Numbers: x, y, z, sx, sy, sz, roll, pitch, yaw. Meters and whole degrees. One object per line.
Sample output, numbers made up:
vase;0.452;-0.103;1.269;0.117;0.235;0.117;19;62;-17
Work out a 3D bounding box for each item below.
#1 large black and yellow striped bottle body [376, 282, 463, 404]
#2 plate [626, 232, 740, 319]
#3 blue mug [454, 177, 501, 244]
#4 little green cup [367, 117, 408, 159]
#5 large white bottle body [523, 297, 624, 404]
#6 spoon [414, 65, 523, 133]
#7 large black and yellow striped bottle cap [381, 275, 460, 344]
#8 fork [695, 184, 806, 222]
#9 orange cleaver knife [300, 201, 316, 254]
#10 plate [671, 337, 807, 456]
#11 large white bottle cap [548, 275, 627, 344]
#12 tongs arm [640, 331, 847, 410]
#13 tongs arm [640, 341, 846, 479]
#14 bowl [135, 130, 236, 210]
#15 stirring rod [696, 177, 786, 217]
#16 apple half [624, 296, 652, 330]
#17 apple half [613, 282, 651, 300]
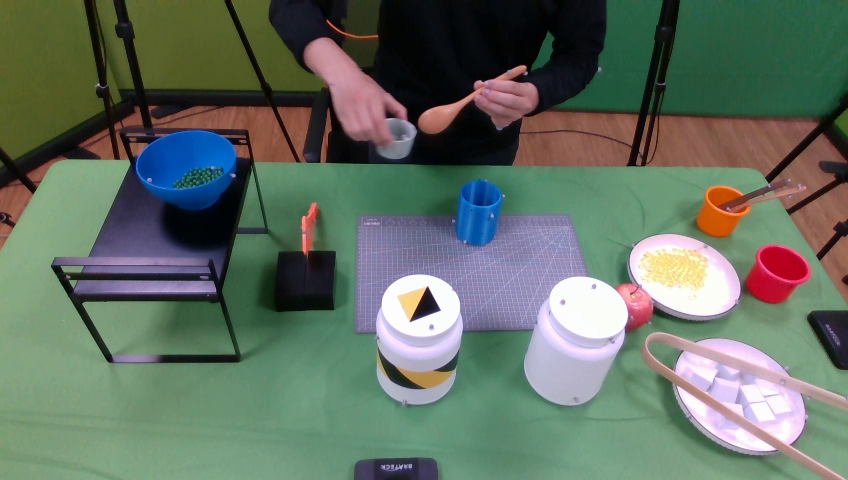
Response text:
large black and yellow striped bottle body;-0.010;0.155;0.937;0.131;0.185;0.130;2;47;-2
plate;0.489;0.070;1.157;0.209;0.038;0.208;3;46;-3
blue mug;0.106;-0.067;1.208;0.082;0.106;0.116;6;46;1
little green cup;-0.059;-0.158;0.941;0.062;0.039;0.061;12;49;-14
large white bottle body;0.235;0.159;0.952;0.131;0.185;0.130;2;47;-2
spoon;0.071;-0.227;0.952;0.194;0.042;0.021;-33;28;-6
large black and yellow striped bottle cap;-0.005;0.098;0.875;0.115;0.019;0.114;2;45;-2
fork;0.658;-0.074;1.230;0.207;0.019;0.028;-24;34;36
orange cleaver knife;-0.221;-0.027;1.161;0.012;0.077;0.210;-1;15;-4
plate;0.504;0.254;0.984;0.208;0.039;0.206;2;46;-2
large white bottle cap;0.240;0.100;0.890;0.115;0.018;0.114;3;47;-3
tongs arm;0.543;0.226;0.969;0.384;0.026;0.050;22;53;13
tongs arm;0.500;0.278;0.920;0.386;0.028;0.028;34;60;22
bowl;-0.375;-0.102;0.977;0.151;0.077;0.150;2;46;-2
stirring rod;0.648;-0.087;1.244;0.176;0.006;0.014;-25;50;29
apple half;0.368;0.135;1.060;0.081;0.081;0.032;-11;43;-15
apple half;0.356;0.109;1.086;0.081;0.075;0.053;-14;44;-12
